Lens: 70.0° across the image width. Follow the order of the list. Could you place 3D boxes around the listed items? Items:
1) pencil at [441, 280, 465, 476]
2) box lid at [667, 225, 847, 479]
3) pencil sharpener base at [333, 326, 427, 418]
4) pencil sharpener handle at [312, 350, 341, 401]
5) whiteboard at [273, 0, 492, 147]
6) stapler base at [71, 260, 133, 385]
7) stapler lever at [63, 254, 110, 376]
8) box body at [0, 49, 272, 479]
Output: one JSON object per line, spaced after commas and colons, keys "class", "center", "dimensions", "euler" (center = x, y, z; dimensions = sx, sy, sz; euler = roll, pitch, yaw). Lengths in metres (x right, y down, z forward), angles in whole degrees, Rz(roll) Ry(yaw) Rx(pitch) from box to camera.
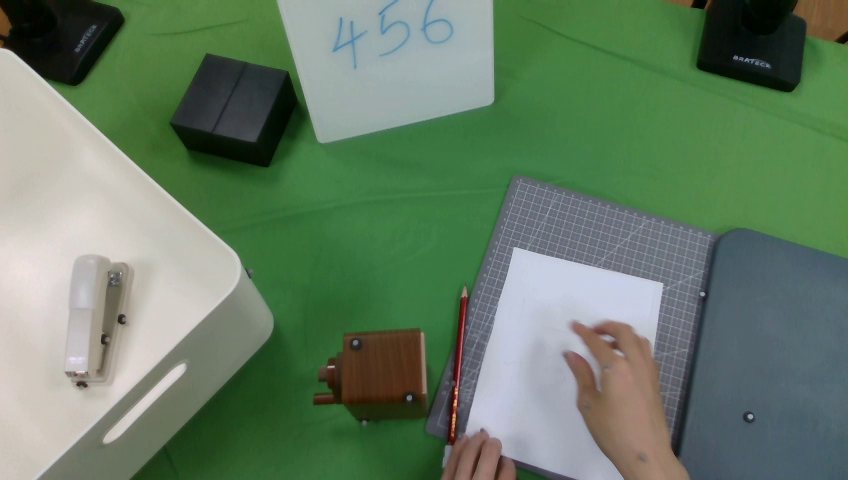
{"class": "pencil", "center": [0.031, 0.129, 0.594], "dimensions": [0.012, 0.012, 0.192], "euler": [5, 67, 3]}
{"class": "box lid", "center": [0.380, 0.172, 0.575], "dimensions": [0.263, 0.015, 0.369], "euler": [18, 68, 7]}
{"class": "pencil sharpener base", "center": [-0.037, 0.122, 0.547], "dimensions": [0.077, 0.108, 0.061], "euler": [-3, 66, 0]}
{"class": "pencil sharpener handle", "center": [-0.088, 0.124, 0.532], "dimensions": [0.030, 0.068, 0.035], "euler": [-3, 50, 0]}
{"class": "whiteboard", "center": [-0.053, -0.287, 0.650], "dimensions": [0.217, 0.308, 0.142], "euler": [-14, 47, -5]}
{"class": "stapler base", "center": [-0.326, 0.078, 0.606], "dimensions": [0.041, 0.024, 0.129], "euler": [-2, 68, 2]}
{"class": "stapler lever", "center": [-0.325, 0.070, 0.582], "dimensions": [0.027, 0.040, 0.117], "euler": [-2, 69, 2]}
{"class": "box body", "center": [-0.351, 0.035, 0.556], "dimensions": [0.362, 0.161, 0.253], "euler": [38, 72, 15]}
